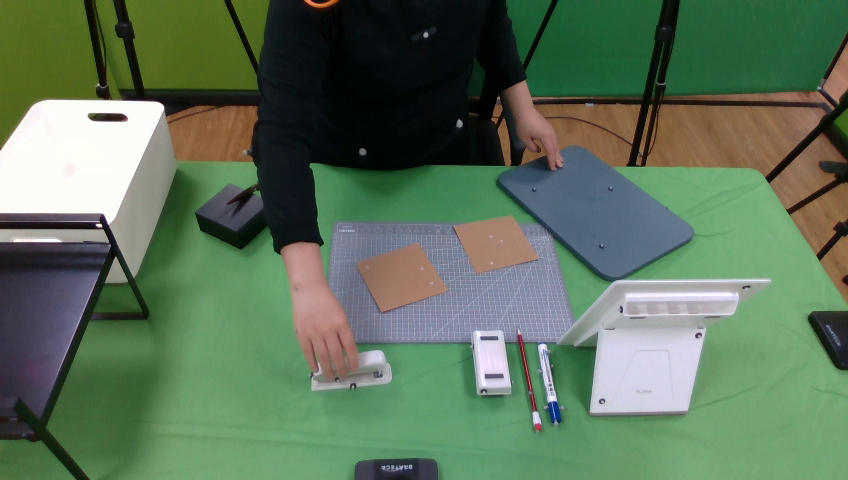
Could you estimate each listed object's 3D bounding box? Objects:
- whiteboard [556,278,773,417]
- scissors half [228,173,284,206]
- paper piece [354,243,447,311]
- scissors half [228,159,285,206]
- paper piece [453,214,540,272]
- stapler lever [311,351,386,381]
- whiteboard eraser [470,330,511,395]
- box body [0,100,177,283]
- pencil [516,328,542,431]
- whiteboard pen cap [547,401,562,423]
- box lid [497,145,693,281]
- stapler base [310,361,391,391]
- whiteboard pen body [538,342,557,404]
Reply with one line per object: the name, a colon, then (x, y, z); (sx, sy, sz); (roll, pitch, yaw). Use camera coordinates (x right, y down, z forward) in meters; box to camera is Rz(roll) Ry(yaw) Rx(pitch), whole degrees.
whiteboard: (0.347, 0.174, 0.903); (0.217, 0.306, 0.143); (1, 65, -4)
scissors half: (-0.339, -0.100, 1.229); (0.013, 0.040, 0.175); (23, 28, 14)
paper piece: (-0.045, 0.067, 1.136); (0.136, 0.009, 0.137); (-14, 47, -22)
scissors half: (-0.335, -0.115, 1.216); (0.013, 0.040, 0.174); (27, 46, 11)
paper piece: (0.142, 0.003, 1.212); (0.135, 0.004, 0.135); (-11, 47, -14)
stapler lever: (-0.120, 0.200, 0.962); (0.118, 0.040, 0.026); (-4, 46, -8)
whiteboard eraser: (0.109, 0.203, 0.997); (0.055, 0.042, 0.112); (1, 46, -5)
box body: (-0.639, -0.094, 1.140); (0.254, 0.161, 0.361); (1, 46, -4)
pencil: (0.170, 0.225, 1.002); (0.012, 0.012, 0.192); (-1, 46, -5)
whiteboard pen cap: (0.205, 0.270, 0.955); (0.018, 0.018, 0.033); (0, 46, -4)
box lid: (0.361, -0.072, 1.303); (0.263, 0.015, 0.369); (-24, 52, -25)
stapler base: (-0.119, 0.215, 0.979); (0.131, 0.024, 0.041); (-6, 46, -6)
whiteboard pen body: (0.205, 0.229, 0.996); (0.017, 0.017, 0.140); (1, 47, -3)
